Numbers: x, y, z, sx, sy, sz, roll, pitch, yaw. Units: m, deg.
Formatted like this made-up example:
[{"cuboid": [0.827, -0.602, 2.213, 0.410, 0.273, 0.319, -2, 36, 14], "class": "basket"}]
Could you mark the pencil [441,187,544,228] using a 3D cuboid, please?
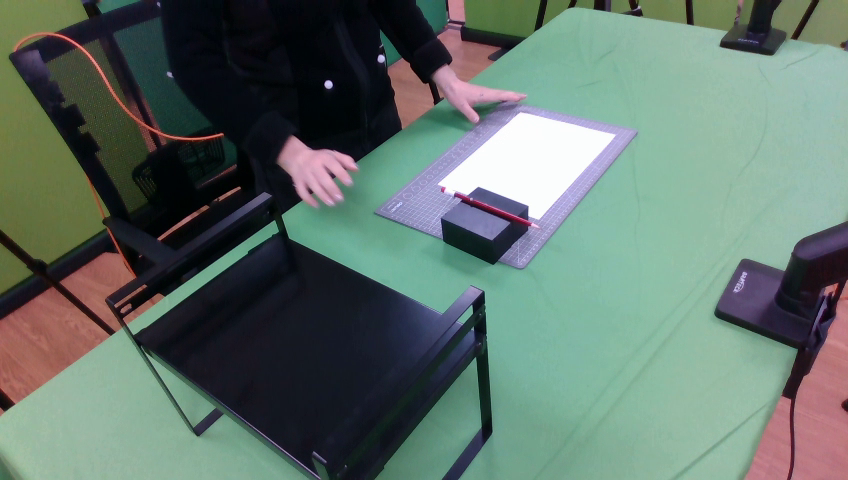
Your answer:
[{"cuboid": [0.104, -0.051, 0.948, 0.192, 0.012, 0.012, 24, 50, 32], "class": "pencil"}]
